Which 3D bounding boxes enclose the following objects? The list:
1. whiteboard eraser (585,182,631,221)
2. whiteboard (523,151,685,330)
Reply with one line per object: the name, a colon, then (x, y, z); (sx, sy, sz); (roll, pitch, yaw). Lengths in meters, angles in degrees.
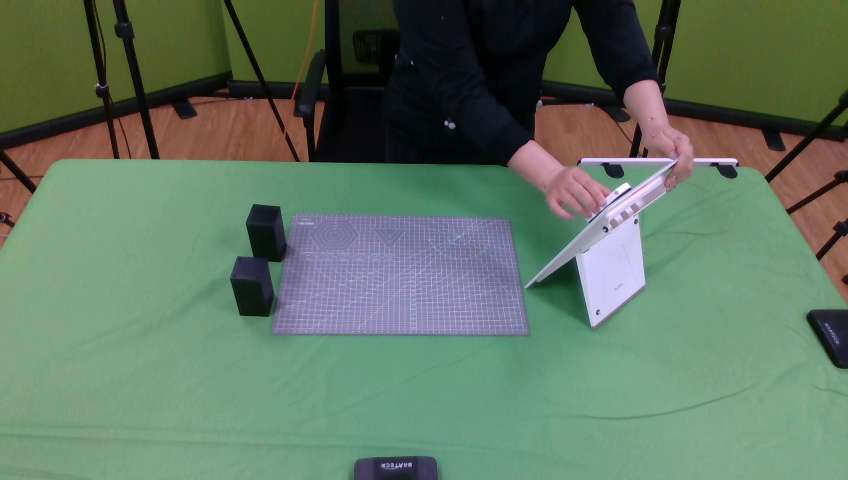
whiteboard eraser: (0.306, -0.063, 1.012); (0.041, 0.101, 0.019); (-26, 74, -37)
whiteboard: (0.346, 0.024, 1.047); (0.217, 0.306, 0.143); (-30, 73, -29)
